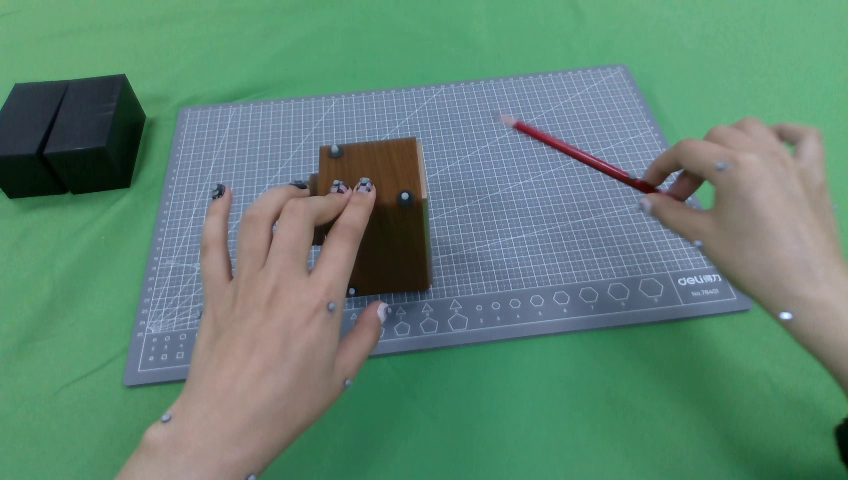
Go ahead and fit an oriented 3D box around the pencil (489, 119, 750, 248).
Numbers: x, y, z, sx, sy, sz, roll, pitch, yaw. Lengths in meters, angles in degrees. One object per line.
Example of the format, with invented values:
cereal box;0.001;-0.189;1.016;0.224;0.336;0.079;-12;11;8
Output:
pencil;0.131;-0.043;0.421;0.193;0.012;0.012;28;57;10

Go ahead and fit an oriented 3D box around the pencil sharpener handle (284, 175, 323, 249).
pencil sharpener handle;-0.088;-0.015;0.422;0.030;0.068;0.035;-5;54;-1

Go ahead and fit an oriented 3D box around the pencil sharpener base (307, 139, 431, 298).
pencil sharpener base;-0.036;-0.012;0.432;0.077;0.108;0.060;-5;52;-1
